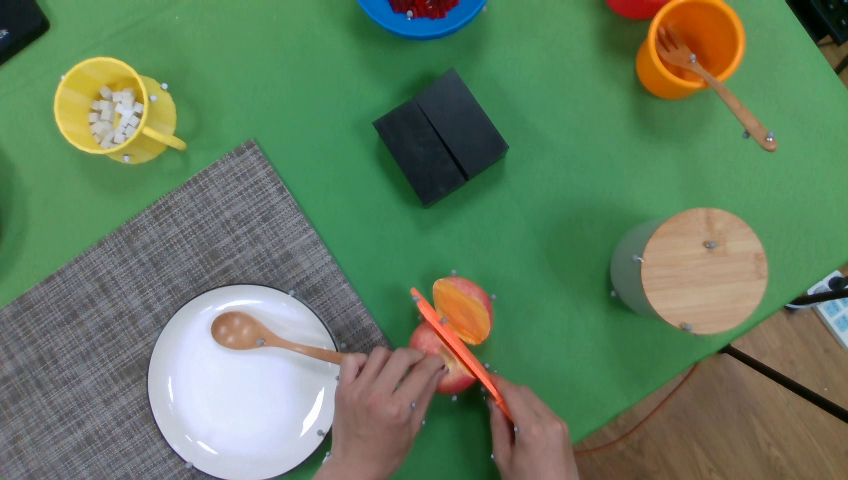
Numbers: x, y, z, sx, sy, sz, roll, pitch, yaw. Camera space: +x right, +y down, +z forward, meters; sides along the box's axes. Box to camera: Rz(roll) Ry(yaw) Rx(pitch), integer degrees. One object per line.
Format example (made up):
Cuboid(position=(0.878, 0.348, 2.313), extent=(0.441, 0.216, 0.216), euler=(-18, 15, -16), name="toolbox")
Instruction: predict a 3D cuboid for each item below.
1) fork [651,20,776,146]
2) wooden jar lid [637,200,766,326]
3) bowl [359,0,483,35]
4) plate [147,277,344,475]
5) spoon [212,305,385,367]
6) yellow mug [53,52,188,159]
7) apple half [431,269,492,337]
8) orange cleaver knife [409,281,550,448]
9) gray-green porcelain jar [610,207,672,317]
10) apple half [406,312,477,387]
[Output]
Cuboid(position=(0.270, -0.154, 0.573), extent=(0.028, 0.019, 0.205), euler=(-17, 46, 1), name="fork")
Cuboid(position=(0.238, 0.020, 0.525), extent=(0.108, 0.020, 0.108), euler=(0, 92, 1), name="wooden jar lid")
Cuboid(position=(-0.001, -0.276, 0.622), extent=(0.151, 0.077, 0.151), euler=(0, 90, 3), name="bowl")
Cuboid(position=(-0.187, 0.142, 0.648), extent=(0.209, 0.038, 0.209), euler=(0, 90, 3), name="plate")
Cuboid(position=(-0.133, 0.106, 0.632), extent=(0.193, 0.022, 0.041), euler=(12, 78, 15), name="spoon")
Cuboid(position=(-0.312, -0.133, 0.644), extent=(0.131, 0.064, 0.100), euler=(28, 91, 2), name="yellow mug")
Cuboid(position=(0.045, 0.062, 0.636), extent=(0.033, 0.081, 0.081), euler=(-38, 87, -34), name="apple half")
Cuboid(position=(0.055, 0.125, 0.620), extent=(0.012, 0.077, 0.212), euler=(-40, 97, 1), name="orange cleaver knife")
Cuboid(position=(0.243, 0.022, 0.587), extent=(0.106, 0.126, 0.106), euler=(0, 89, 4), name="gray-green porcelain jar")
Cuboid(position=(0.011, 0.118, 0.625), extent=(0.053, 0.074, 0.081), euler=(-40, 94, 7), name="apple half")
